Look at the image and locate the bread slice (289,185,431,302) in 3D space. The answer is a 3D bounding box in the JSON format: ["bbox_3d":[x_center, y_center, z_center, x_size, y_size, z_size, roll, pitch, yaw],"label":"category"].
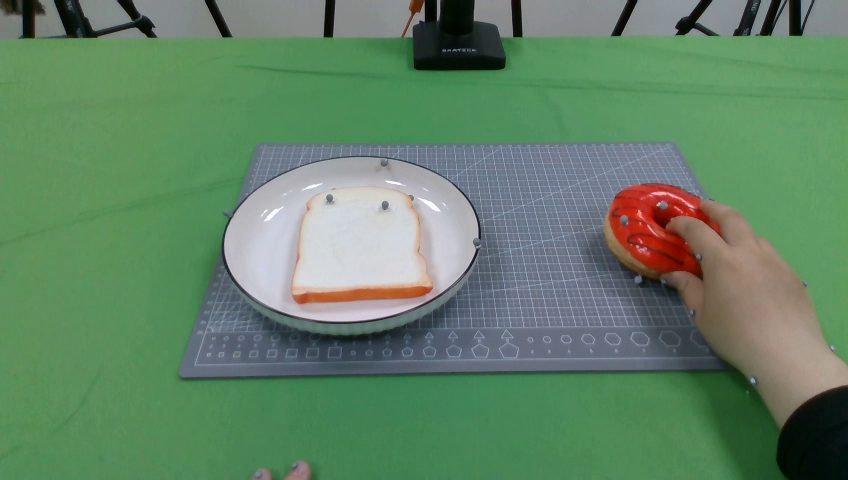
[{"bbox_3d":[-0.057,0.000,0.509,0.107,0.018,0.133,-4,43,-8],"label":"bread slice"}]

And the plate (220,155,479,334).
[{"bbox_3d":[-0.059,0.002,0.504,0.209,0.038,0.207,1,42,-1],"label":"plate"}]

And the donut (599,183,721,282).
[{"bbox_3d":[0.198,-0.007,0.509,0.099,0.048,0.098,3,50,-3],"label":"donut"}]
